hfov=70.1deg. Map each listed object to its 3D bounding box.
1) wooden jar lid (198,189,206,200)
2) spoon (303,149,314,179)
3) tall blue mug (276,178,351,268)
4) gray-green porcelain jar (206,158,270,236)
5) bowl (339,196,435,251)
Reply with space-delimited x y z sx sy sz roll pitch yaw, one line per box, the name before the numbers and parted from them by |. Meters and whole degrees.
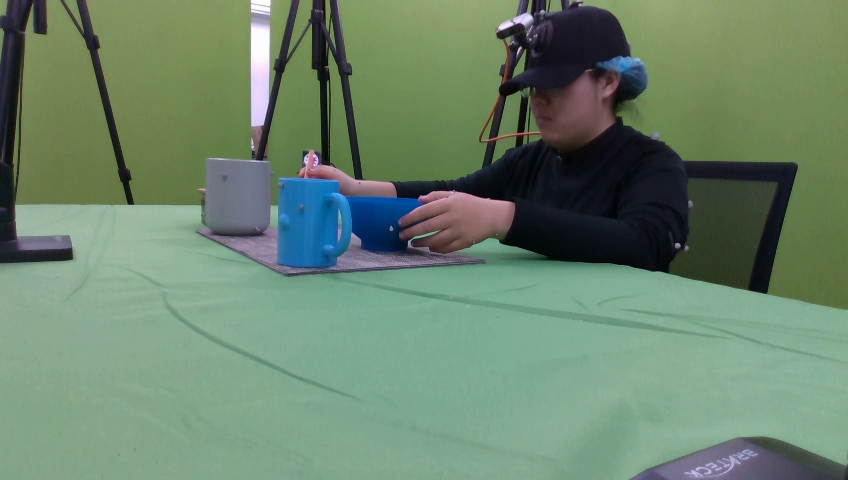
wooden jar lid | -0.382 -0.088 1.175 0.108 0.020 0.108 3 8 0
spoon | -0.246 -0.115 1.252 0.041 0.193 0.021 5 -28 0
tall blue mug | -0.133 -0.023 0.767 0.107 0.108 0.078 4 7 12
gray-green porcelain jar | -0.317 -0.074 1.031 0.106 0.126 0.106 3 7 0
bowl | -0.061 -0.026 0.943 0.151 0.077 0.151 3 7 0
